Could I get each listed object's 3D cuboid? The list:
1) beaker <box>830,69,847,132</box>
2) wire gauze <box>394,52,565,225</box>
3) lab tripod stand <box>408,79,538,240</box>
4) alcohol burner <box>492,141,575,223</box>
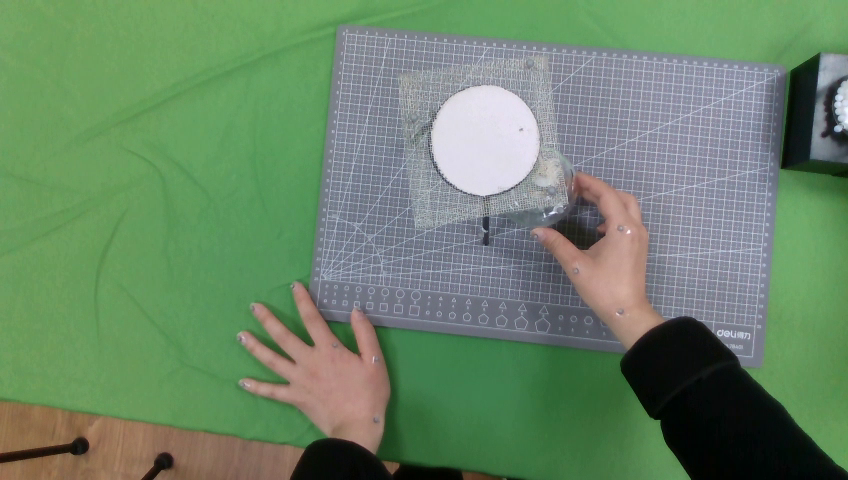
[{"bbox_3d":[0.399,-0.130,0.501,0.074,0.100,0.084,17,87,3],"label":"beaker"},{"bbox_3d":[0.043,-0.080,0.474,0.121,0.011,0.125,-7,89,0],"label":"wire gauze"},{"bbox_3d":[0.049,-0.076,0.541,0.148,0.131,0.148,0,89,0],"label":"lab tripod stand"},{"bbox_3d":[0.101,-0.055,0.549,0.078,0.119,0.077,0,85,3],"label":"alcohol burner"}]
